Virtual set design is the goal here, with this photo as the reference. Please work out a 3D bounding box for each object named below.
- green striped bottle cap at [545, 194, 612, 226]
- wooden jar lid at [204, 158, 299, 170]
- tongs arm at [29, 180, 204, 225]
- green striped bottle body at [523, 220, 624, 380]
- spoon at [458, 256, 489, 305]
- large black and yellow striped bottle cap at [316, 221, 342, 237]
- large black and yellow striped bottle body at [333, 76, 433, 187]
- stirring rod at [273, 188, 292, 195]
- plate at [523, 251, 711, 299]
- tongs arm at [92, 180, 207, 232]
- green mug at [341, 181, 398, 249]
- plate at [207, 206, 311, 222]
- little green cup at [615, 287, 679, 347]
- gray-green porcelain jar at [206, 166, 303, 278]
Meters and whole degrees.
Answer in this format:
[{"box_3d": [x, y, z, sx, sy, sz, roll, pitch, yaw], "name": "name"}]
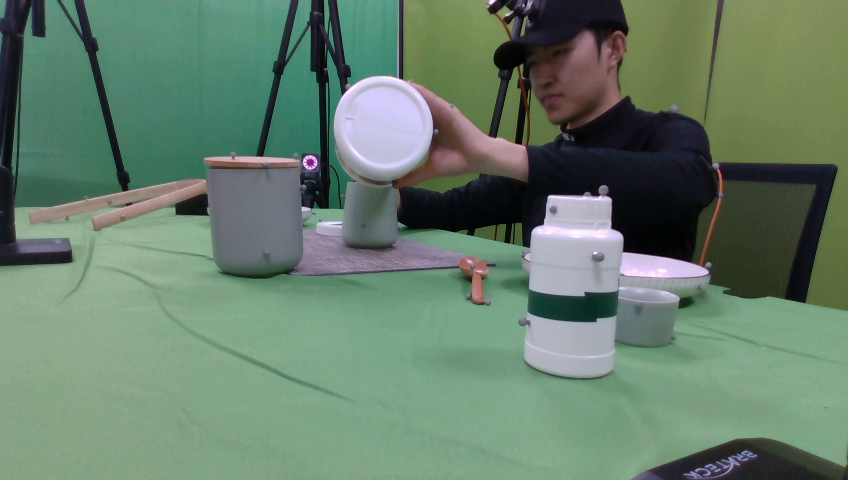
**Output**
[{"box_3d": [0.105, -0.020, 0.414, 0.044, 0.020, 0.044, 2, 5, 0], "name": "green striped bottle cap"}, {"box_3d": [-0.202, -0.086, 0.714, 0.108, 0.020, 0.108, 2, 10, 0], "name": "wooden jar lid"}, {"box_3d": [-0.609, -0.083, 1.245, 0.050, 0.026, 0.386, 5, 16, 23], "name": "tongs arm"}, {"box_3d": [0.104, 0.031, 0.422, 0.063, 0.119, 0.063, 2, 7, 0], "name": "green striped bottle body"}, {"box_3d": [0.059, 0.043, 0.695, 0.041, 0.021, 0.194, 19, 7, 1], "name": "spoon"}, {"box_3d": [-0.147, -0.021, 1.147, 0.115, 0.019, 0.115, 2, 9, 0], "name": "large black and yellow striped bottle cap"}, {"box_3d": [-0.063, -0.145, 0.859, 0.131, 0.130, 0.183, 2, -2, -8], "name": "large black and yellow striped bottle body"}, {"box_3d": [-0.354, -0.122, 1.518, 0.006, 0.014, 0.176, 2, 7, 1], "name": "stirring rod"}, {"box_3d": [0.219, 0.041, 0.706, 0.209, 0.038, 0.209, 2, 7, 0], "name": "plate"}, {"box_3d": [-0.534, -0.076, 1.221, 0.028, 0.028, 0.388, -2, 15, 12], "name": "tongs arm"}, {"box_3d": [-0.090, -0.044, 0.996, 0.093, 0.105, 0.125, 0, 8, -11], "name": "green mug"}, {"box_3d": [-0.342, -0.050, 1.259, 0.208, 0.039, 0.207, 2, 7, 0], "name": "plate"}, {"box_3d": [0.180, 0.064, 0.506, 0.061, 0.038, 0.061, 2, 8, 0], "name": "little green cup"}, {"box_3d": [-0.201, -0.024, 0.724, 0.106, 0.126, 0.106, -1, 9, 1], "name": "gray-green porcelain jar"}]
